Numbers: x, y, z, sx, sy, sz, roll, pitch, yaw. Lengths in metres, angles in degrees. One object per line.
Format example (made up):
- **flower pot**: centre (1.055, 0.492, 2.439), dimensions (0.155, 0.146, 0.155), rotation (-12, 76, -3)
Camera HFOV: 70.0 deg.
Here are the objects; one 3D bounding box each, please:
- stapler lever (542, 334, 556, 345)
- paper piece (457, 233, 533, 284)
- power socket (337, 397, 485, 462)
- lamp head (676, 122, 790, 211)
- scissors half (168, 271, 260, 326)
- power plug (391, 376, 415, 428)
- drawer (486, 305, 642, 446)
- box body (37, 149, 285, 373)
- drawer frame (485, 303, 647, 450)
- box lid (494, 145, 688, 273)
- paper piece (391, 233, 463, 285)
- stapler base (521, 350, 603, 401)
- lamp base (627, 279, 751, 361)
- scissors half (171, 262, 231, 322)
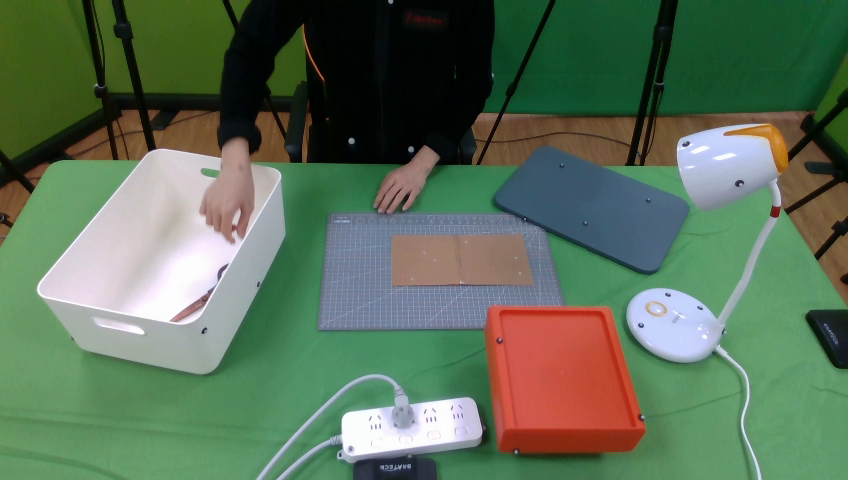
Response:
- **stapler lever**: centre (0.225, 0.181, 0.928), dimensions (0.118, 0.040, 0.027), rotation (27, 34, 15)
- **paper piece**: centre (0.136, 0.035, 1.182), dimensions (0.136, 0.009, 0.137), rotation (2, 45, -6)
- **power socket**: centre (-0.018, 0.285, 0.915), dimensions (0.227, 0.033, 0.071), rotation (-4, 46, -8)
- **lamp head**: centre (0.423, -0.104, 0.819), dimensions (0.122, 0.113, 0.112), rotation (-13, 33, 40)
- **scissors half**: centre (-0.369, 0.105, 1.071), dimensions (0.175, 0.013, 0.040), rotation (-29, 68, -28)
- **power plug**: centre (-0.030, 0.249, 0.917), dimensions (0.035, 0.053, 0.072), rotation (3, 46, 0)
- **drawer**: centre (0.202, 0.200, 0.919), dimensions (0.195, 0.073, 0.210), rotation (2, 47, -4)
- **box body**: centre (-0.414, 0.029, 1.039), dimensions (0.254, 0.161, 0.362), rotation (10, 46, 5)
- **drawer frame**: centre (0.204, 0.202, 0.917), dimensions (0.202, 0.083, 0.212), rotation (1, 47, -4)
- **box lid**: centre (0.360, -0.081, 1.311), dimensions (0.370, 0.015, 0.263), rotation (27, 49, 20)
- **paper piece**: centre (0.004, 0.035, 1.170), dimensions (0.135, 0.004, 0.135), rotation (1, 46, -4)
- **stapler base**: centre (0.217, 0.203, 0.942), dimensions (0.130, 0.024, 0.041), rotation (26, 33, 16)
- **lamp base**: centre (0.460, 0.100, 1.027), dimensions (0.178, 0.181, 0.160), rotation (27, 51, 17)
- **scissors half**: centre (-0.383, 0.092, 1.076), dimensions (0.040, 0.013, 0.175), rotation (32, 54, 15)
